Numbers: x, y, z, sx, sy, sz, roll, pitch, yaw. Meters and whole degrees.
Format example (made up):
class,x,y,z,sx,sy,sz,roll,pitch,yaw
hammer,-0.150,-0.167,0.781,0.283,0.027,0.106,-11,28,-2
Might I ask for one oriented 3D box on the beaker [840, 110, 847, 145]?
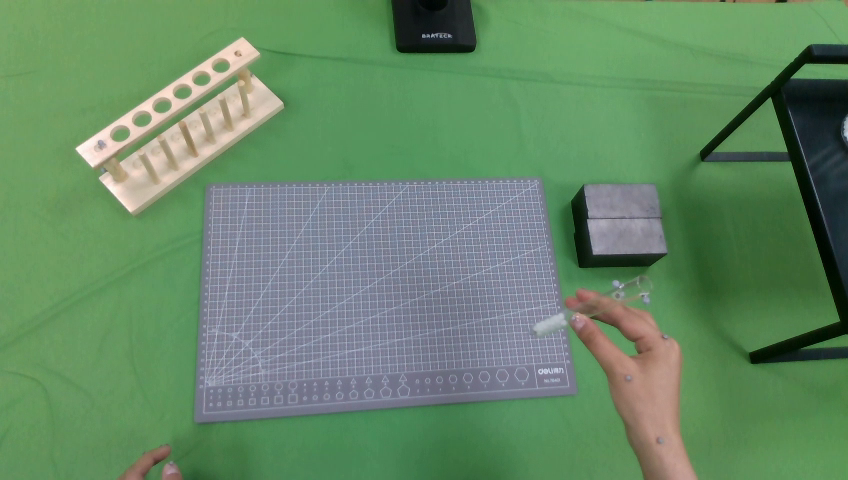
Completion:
class,x,y,z,sx,sy,sz,roll,pitch,yaw
beaker,0.523,-0.142,0.670,0.084,0.101,0.073,-6,70,-9

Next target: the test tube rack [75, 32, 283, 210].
class,x,y,z,sx,sy,sz,roll,pitch,yaw
test tube rack,-0.297,-0.150,0.763,0.066,0.085,0.242,44,70,10

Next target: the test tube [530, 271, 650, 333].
class,x,y,z,sx,sy,sz,roll,pitch,yaw
test tube,0.141,0.059,0.540,0.017,0.150,0.017,11,63,-23
